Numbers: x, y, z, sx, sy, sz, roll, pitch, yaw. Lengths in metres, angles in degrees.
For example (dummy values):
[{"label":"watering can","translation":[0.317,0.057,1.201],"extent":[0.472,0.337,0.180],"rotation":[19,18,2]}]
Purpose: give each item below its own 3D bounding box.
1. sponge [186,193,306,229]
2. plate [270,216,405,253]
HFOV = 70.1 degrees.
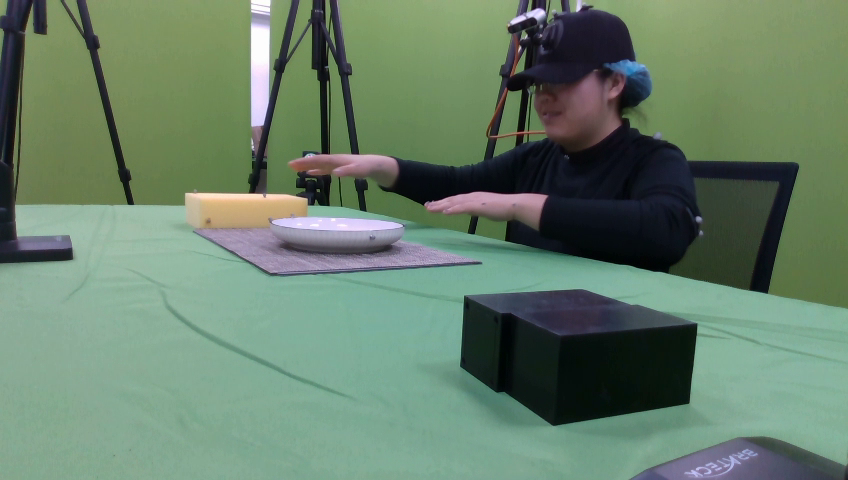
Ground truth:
[{"label":"sponge","translation":[-0.350,-0.059,1.194],"extent":[0.208,0.061,0.117],"rotation":[-3,9,-34]},{"label":"plate","translation":[-0.134,-0.010,0.946],"extent":[0.208,0.039,0.207],"rotation":[3,7,0]}]
